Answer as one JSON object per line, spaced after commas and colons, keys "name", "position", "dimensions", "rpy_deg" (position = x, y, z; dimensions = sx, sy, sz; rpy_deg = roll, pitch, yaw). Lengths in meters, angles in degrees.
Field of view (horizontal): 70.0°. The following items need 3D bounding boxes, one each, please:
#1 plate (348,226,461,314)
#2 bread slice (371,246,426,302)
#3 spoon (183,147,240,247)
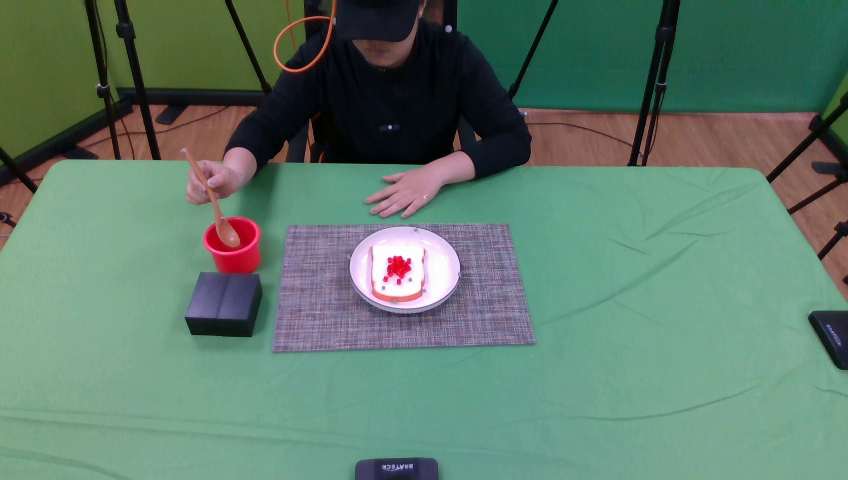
{"name": "plate", "position": [-0.035, 0.058, 1.123], "dimensions": [0.209, 0.038, 0.208], "rpy_deg": [2, 46, -2]}
{"name": "bread slice", "position": [-0.047, 0.060, 1.123], "dimensions": [0.105, 0.019, 0.130], "rpy_deg": [0, 46, -3]}
{"name": "spoon", "position": [-0.375, -0.074, 1.069], "dimensions": [0.021, 0.194, 0.041], "rpy_deg": [-7, 24, 23]}
